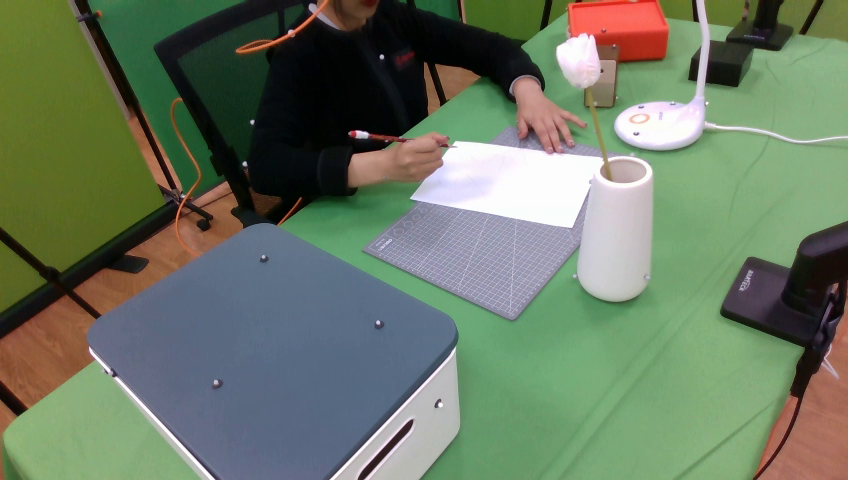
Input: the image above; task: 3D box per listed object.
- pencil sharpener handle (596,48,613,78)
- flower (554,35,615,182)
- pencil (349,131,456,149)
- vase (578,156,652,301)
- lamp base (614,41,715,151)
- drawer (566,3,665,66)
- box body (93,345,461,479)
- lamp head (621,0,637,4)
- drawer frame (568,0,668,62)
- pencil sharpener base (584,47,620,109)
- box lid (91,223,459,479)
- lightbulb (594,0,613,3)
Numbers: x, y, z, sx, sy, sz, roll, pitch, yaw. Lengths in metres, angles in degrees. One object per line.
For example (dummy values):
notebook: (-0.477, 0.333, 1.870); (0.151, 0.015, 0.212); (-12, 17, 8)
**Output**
pencil sharpener handle: (0.382, -0.378, 1.276); (0.036, 0.068, 0.030); (3, 41, 21)
flower: (0.237, -0.083, 0.774); (0.044, 0.363, 0.038); (-22, 26, 7)
pencil: (-0.031, -0.165, 1.008); (0.195, 0.012, 0.012); (3, 34, -26)
vase: (0.261, -0.011, 0.812); (0.098, 0.201, 0.097); (-4, 40, 4)
lamp base: (0.449, -0.277, 1.106); (0.179, 0.181, 0.160); (1, 41, 9)
drawer: (0.447, -0.493, 1.440); (0.211, 0.073, 0.194); (0, 40, 10)
box body: (-0.162, 0.170, 0.708); (0.361, 0.161, 0.255); (25, 50, 34)
lamp head: (0.319, -0.453, 0.962); (0.113, 0.123, 0.112); (20, 33, -13)
drawer frame: (0.450, -0.496, 1.441); (0.213, 0.083, 0.201); (-1, 40, 9)
pencil sharpener base: (0.367, -0.336, 1.249); (0.061, 0.107, 0.076); (6, 42, 19)
box lid: (-0.174, 0.103, 0.667); (0.368, 0.015, 0.264); (24, 48, 35)
lightbulb: (0.305, -0.438, 0.978); (0.060, 0.107, 0.059); (13, 43, -11)
